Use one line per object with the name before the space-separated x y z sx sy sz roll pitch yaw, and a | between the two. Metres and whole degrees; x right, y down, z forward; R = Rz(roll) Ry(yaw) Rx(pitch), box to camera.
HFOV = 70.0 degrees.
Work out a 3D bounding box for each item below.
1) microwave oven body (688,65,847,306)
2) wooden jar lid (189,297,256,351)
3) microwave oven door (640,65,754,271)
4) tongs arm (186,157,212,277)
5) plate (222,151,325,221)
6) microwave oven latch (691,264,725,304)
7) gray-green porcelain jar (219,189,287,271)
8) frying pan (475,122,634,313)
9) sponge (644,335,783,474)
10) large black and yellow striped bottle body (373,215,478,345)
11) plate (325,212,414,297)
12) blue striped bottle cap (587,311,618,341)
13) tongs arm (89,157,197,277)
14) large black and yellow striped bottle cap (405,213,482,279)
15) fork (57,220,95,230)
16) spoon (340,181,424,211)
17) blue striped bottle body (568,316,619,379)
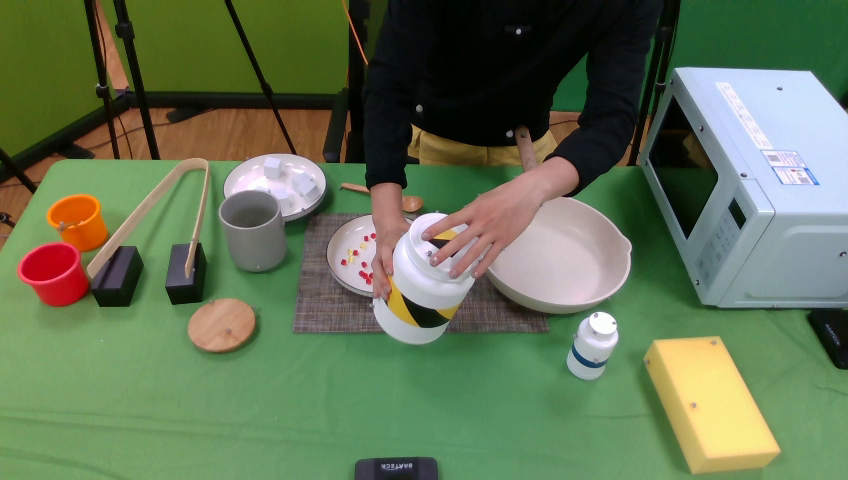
microwave oven body | 0.669 -0.111 1.176 0.326 0.261 0.439 0 46 -3
wooden jar lid | -0.342 0.145 1.033 0.108 0.021 0.107 3 45 -2
microwave oven door | 0.524 -0.148 1.193 0.039 0.245 0.353 0 47 -3
tongs arm | -0.445 -0.058 1.168 0.051 0.026 0.382 -4 37 -6
plate | -0.310 -0.106 1.262 0.208 0.039 0.206 2 47 -2
microwave oven latch | 0.521 0.081 1.116 0.030 0.029 0.078 0 46 -3
gray-green porcelain jar | -0.309 -0.014 1.113 0.106 0.127 0.105 2 46 -2
frying pan | 0.235 -0.061 1.207 0.307 0.103 0.484 2 55 -6
sponge | 0.448 0.253 0.956 0.118 0.061 0.205 -3 47 -7
large black and yellow striped bottle body | 0.004 0.062 0.936 0.131 0.184 0.130 13 45 -13
plate | -0.081 0.030 1.143 0.209 0.038 0.208 3 46 -3
blue striped bottle cap | 0.279 0.134 0.947 0.044 0.021 0.044 2 45 -2
tongs arm | -0.530 -0.058 1.163 0.028 0.028 0.385 1 36 7
large black and yellow striped bottle cap | 0.029 0.007 0.877 0.115 0.019 0.114 14 44 -13
fork | -0.624 -0.027 1.087 0.028 0.207 0.018 -3 92 -17
spoon | -0.091 -0.100 1.282 0.193 0.022 0.041 18 65 13
blue striped bottle body | 0.276 0.168 0.984 0.063 0.121 0.062 2 47 -2
